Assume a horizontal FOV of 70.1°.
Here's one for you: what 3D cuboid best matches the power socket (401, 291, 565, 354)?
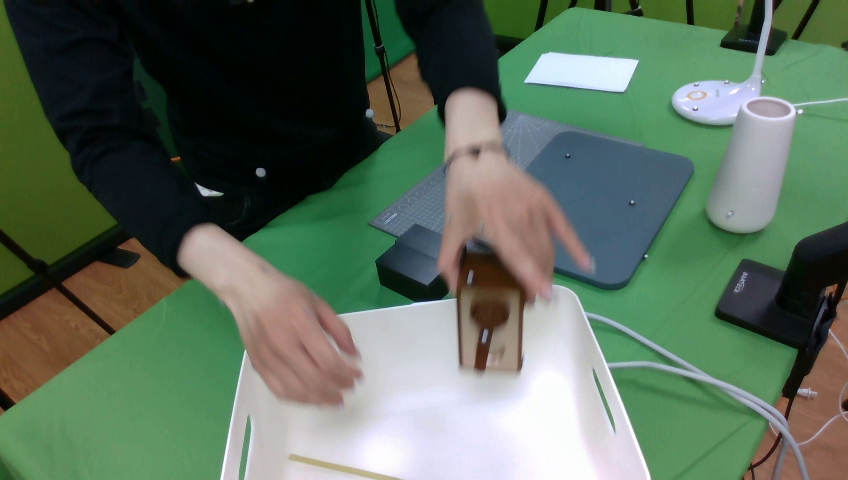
[{"bbox_3d":[0.080,0.111,0.823,0.227,0.033,0.072,-5,41,1],"label":"power socket"}]

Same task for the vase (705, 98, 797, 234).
[{"bbox_3d":[0.480,-0.103,0.888,0.098,0.201,0.097,-4,42,4],"label":"vase"}]

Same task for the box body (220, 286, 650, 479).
[{"bbox_3d":[0.006,0.210,0.618,0.364,0.161,0.252,-8,40,-1],"label":"box body"}]

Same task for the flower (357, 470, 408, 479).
[{"bbox_3d":[0.016,0.270,0.654,0.360,0.038,0.044,3,19,20],"label":"flower"}]

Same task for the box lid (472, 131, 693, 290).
[{"bbox_3d":[0.273,-0.068,1.020,0.261,0.015,0.372,20,47,28],"label":"box lid"}]

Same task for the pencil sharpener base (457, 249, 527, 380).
[{"bbox_3d":[0.065,0.072,0.572,0.061,0.107,0.076,2,32,8],"label":"pencil sharpener base"}]

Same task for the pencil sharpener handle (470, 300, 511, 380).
[{"bbox_3d":[0.054,0.088,0.523,0.036,0.068,0.030,8,33,4],"label":"pencil sharpener handle"}]

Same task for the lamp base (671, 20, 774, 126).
[{"bbox_3d":[0.581,-0.332,1.153,0.179,0.181,0.160,2,41,7],"label":"lamp base"}]

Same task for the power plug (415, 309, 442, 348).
[{"bbox_3d":[0.004,0.122,0.786,0.035,0.053,0.072,3,45,8],"label":"power plug"}]
